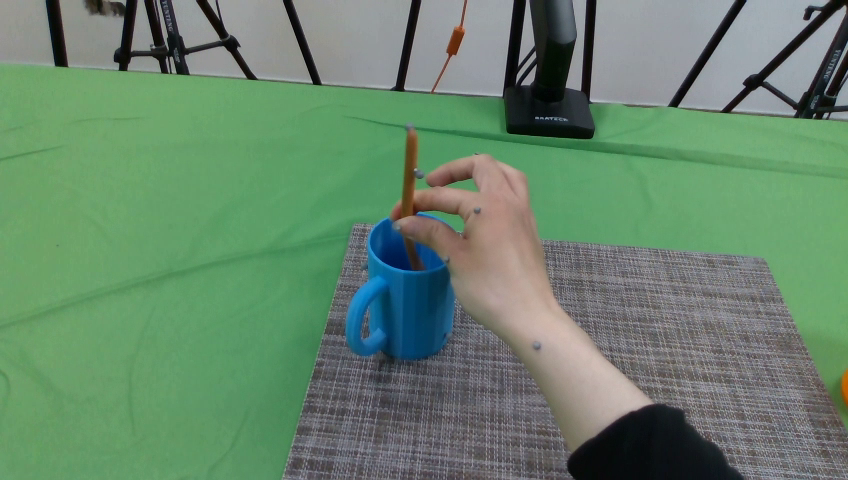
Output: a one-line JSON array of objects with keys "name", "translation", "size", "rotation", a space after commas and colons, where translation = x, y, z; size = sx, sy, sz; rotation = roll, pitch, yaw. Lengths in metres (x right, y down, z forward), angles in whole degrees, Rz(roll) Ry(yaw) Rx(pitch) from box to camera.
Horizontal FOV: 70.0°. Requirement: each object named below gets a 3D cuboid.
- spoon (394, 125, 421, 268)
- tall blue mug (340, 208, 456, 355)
[{"name": "spoon", "translation": [-0.014, -0.006, 0.462], "size": [0.021, 0.195, 0.041], "rotation": [-4, 48, 1]}, {"name": "tall blue mug", "translation": [-0.019, 0.047, 0.515], "size": [0.077, 0.109, 0.106], "rotation": [11, 42, 7]}]
